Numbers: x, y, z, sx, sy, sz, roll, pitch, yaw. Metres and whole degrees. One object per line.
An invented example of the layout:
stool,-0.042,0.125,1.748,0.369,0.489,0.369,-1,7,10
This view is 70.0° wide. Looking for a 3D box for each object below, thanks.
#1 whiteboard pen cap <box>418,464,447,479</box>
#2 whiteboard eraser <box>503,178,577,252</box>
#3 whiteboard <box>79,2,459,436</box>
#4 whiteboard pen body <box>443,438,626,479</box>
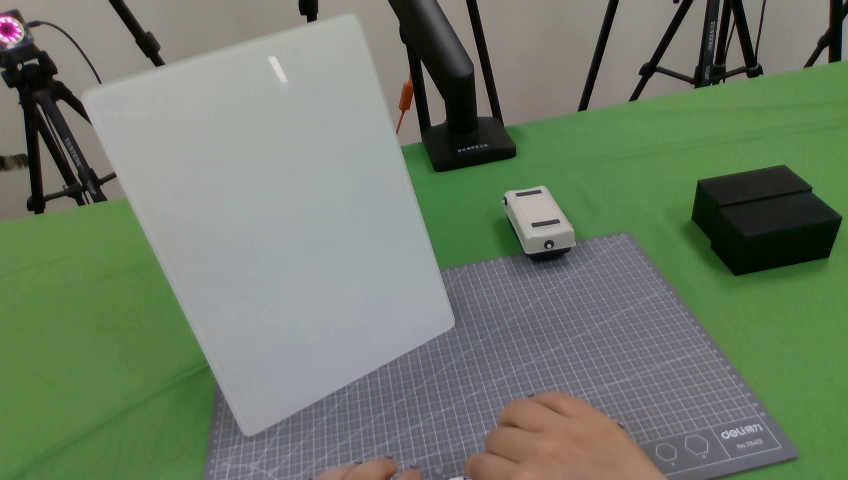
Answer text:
whiteboard pen cap,0.001,0.162,0.389,0.018,0.018,0.033,28,85,38
whiteboard eraser,0.128,-0.028,0.682,0.055,0.042,0.111,-12,33,-1
whiteboard,-0.130,-0.025,0.559,0.217,0.307,0.142,-25,21,-20
whiteboard pen body,0.060,0.148,0.390,0.141,0.017,0.017,-11,37,0
